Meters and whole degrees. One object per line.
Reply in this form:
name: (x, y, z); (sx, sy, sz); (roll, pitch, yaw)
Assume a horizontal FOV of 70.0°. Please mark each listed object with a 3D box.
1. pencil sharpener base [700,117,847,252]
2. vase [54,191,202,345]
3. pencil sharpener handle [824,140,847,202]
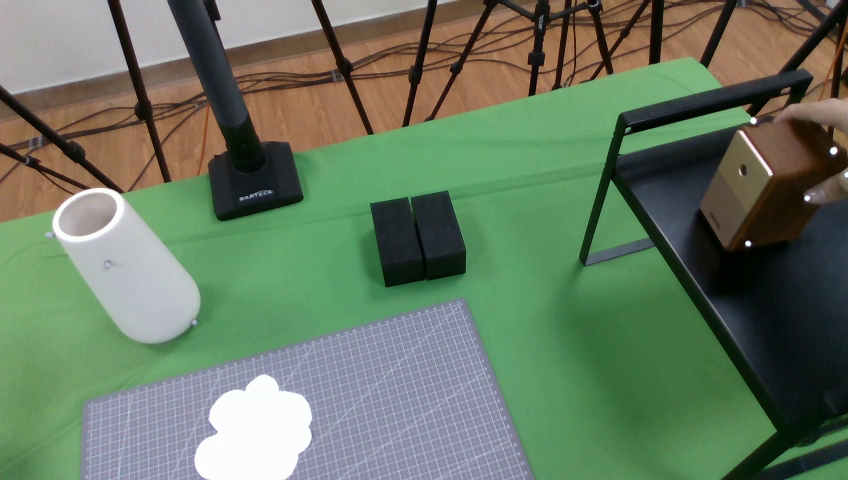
pencil sharpener base: (0.305, -0.047, 0.535); (0.077, 0.108, 0.060); (-10, 53, -6)
vase: (-0.322, 0.035, 0.670); (0.098, 0.202, 0.097); (-2, 53, 3)
pencil sharpener handle: (0.356, -0.061, 0.528); (0.031, 0.068, 0.035); (-10, 40, -6)
